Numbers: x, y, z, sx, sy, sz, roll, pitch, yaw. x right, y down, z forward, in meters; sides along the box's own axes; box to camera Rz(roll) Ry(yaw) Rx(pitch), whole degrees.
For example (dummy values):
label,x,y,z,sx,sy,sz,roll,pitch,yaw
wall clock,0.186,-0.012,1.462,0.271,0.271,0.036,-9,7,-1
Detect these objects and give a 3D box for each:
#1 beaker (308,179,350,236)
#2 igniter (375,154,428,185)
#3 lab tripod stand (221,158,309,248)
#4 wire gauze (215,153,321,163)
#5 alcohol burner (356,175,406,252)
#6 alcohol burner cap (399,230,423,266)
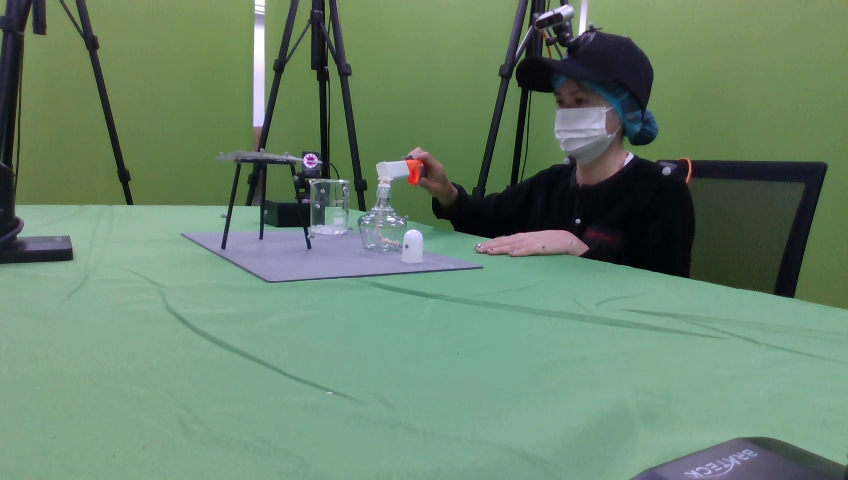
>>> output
label,x,y,z,sx,sy,sz,roll,pitch,yaw
beaker,-0.176,-0.060,1.105,0.073,0.100,0.084,8,10,39
igniter,-0.033,-0.126,1.083,0.025,0.057,0.277,-18,3,15
lab tripod stand,-0.244,-0.057,0.917,0.148,0.131,0.148,1,7,0
wire gauze,-0.235,-0.123,0.906,0.126,0.011,0.121,-2,7,-33
alcohol burner,-0.066,-0.041,0.940,0.078,0.119,0.078,4,6,0
alcohol burner cap,-0.017,0.010,0.837,0.034,0.048,0.034,3,7,0
